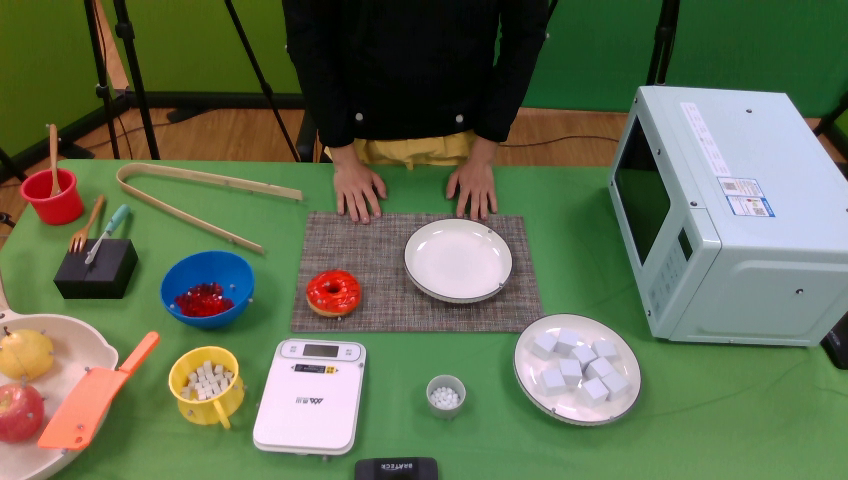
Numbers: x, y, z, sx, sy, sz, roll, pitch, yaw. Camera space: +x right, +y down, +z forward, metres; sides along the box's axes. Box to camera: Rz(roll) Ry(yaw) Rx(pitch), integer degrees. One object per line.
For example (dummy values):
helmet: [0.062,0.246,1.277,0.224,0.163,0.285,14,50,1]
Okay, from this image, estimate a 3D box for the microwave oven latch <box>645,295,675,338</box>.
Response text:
microwave oven latch: [0.412,0.134,1.061,0.030,0.029,0.078,3,45,0]

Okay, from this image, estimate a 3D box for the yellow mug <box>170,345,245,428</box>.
yellow mug: [-0.322,0.230,0.922,0.100,0.064,0.130,-24,53,-25]

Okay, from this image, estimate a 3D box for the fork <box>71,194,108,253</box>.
fork: [-0.634,-0.036,1.158,0.028,0.019,0.206,-8,32,-8]

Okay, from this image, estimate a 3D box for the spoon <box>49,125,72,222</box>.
spoon: [-0.718,-0.131,1.189,0.041,0.021,0.193,-4,90,-6]

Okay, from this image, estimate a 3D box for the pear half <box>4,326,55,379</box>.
pear half: [-0.609,0.159,0.934,0.076,0.110,0.056,32,52,20]

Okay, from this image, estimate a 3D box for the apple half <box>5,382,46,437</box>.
apple half: [-0.567,0.244,0.877,0.033,0.082,0.080,-9,47,-7]

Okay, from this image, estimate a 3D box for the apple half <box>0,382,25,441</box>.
apple half: [-0.605,0.250,0.871,0.053,0.075,0.080,-9,51,-7]

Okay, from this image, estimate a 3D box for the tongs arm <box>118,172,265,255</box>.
tongs arm: [-0.473,-0.054,1.212,0.386,0.028,0.028,23,57,17]

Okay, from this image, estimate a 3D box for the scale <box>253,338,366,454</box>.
scale: [-0.175,0.236,0.951,0.149,0.032,0.199,4,45,0]

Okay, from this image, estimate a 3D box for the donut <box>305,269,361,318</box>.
donut: [-0.160,0.094,1.075,0.099,0.048,0.098,4,45,-3]

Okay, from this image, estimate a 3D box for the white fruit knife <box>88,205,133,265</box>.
white fruit knife: [-0.584,-0.013,1.129,0.016,0.027,0.206,0,32,-5]

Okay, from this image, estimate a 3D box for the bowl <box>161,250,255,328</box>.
bowl: [-0.362,0.098,1.039,0.151,0.077,0.150,2,45,-2]

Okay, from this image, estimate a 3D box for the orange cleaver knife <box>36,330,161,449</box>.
orange cleaver knife: [-0.466,0.210,0.880,0.077,0.012,0.210,15,46,9]

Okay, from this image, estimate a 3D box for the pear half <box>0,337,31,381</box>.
pear half: [-0.632,0.185,0.920,0.070,0.088,0.031,30,50,20]

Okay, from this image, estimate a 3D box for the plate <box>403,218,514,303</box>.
plate: [0.064,0.042,1.146,0.209,0.038,0.208,2,46,-2]

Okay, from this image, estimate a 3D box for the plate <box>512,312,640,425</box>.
plate: [0.246,0.213,0.999,0.208,0.039,0.206,2,46,-2]

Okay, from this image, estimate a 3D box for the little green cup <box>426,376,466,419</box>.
little green cup: [0.033,0.248,0.950,0.061,0.039,0.061,2,46,-2]

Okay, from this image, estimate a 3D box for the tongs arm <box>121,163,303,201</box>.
tongs arm: [-0.444,-0.114,1.266,0.384,0.026,0.050,12,51,7]

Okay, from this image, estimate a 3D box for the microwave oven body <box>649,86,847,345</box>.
microwave oven body: [0.567,-0.053,1.118,0.326,0.261,0.439,2,45,-1]

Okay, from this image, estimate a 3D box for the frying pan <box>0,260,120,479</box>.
frying pan: [-0.647,0.164,0.936,0.307,0.103,0.485,-19,58,-22]

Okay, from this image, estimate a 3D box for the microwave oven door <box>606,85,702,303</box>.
microwave oven door: [0.422,-0.094,1.140,0.039,0.245,0.353,2,46,-1]
